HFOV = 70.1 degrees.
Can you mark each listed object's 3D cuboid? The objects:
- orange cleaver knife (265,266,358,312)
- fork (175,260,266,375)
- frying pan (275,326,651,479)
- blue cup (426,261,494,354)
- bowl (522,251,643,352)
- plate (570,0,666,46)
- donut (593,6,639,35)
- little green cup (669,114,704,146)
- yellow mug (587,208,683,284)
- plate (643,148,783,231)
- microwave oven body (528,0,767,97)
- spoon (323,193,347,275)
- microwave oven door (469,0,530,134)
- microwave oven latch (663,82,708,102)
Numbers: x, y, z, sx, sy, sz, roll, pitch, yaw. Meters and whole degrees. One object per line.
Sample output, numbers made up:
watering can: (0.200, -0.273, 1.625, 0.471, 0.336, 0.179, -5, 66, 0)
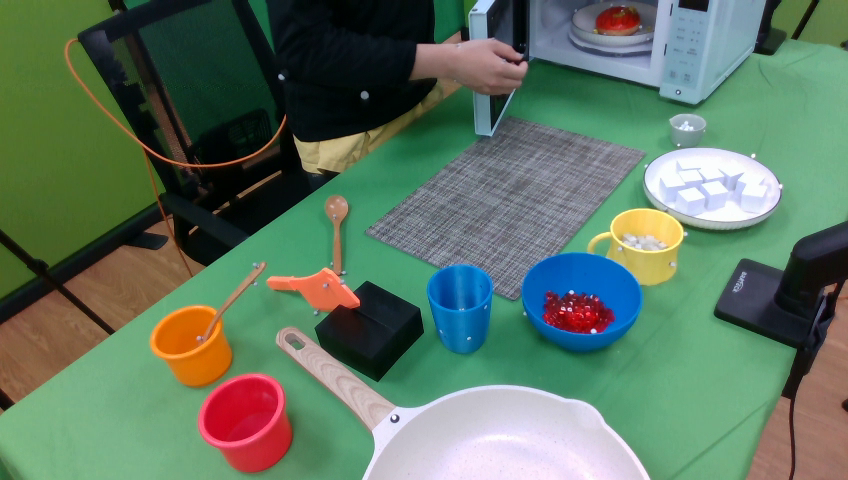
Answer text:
orange cleaver knife: (-0.164, 0.073, 0.864, 0.210, 0.077, 0.012, -6, 31, 50)
fork: (-0.268, 0.102, 0.792, 0.207, 0.019, 0.028, -51, 41, 16)
frying pan: (0.004, 0.229, 0.641, 0.484, 0.103, 0.308, 34, 54, 28)
blue cup: (0.049, 0.095, 0.791, 0.092, 0.100, 0.092, -3, 42, 3)
bowl: (0.204, 0.093, 0.792, 0.151, 0.077, 0.150, -4, 40, 4)
plate: (0.436, -0.488, 1.368, 0.209, 0.038, 0.208, -4, 41, 4)
donut: (0.428, -0.490, 1.349, 0.099, 0.048, 0.098, -6, 40, 6)
little green cup: (0.485, -0.203, 1.123, 0.061, 0.039, 0.061, -5, 40, 4)
yellow mug: (0.305, 0.009, 0.884, 0.131, 0.064, 0.099, -4, 40, 5)
plate: (0.464, -0.080, 0.986, 0.207, 0.039, 0.206, -4, 40, 4)
microwave oven body: (0.473, -0.516, 1.313, 0.438, 0.261, 0.327, 26, 51, 34)
spoon: (-0.148, -0.014, 1.008, 0.042, 0.022, 0.192, 1, 40, -9)
microwave oven door: (0.161, -0.413, 1.231, 0.039, 0.245, 0.355, 9, 43, 18)
microwave oven latch: (0.519, -0.298, 1.202, 0.078, 0.029, 0.030, 30, 54, 36)
